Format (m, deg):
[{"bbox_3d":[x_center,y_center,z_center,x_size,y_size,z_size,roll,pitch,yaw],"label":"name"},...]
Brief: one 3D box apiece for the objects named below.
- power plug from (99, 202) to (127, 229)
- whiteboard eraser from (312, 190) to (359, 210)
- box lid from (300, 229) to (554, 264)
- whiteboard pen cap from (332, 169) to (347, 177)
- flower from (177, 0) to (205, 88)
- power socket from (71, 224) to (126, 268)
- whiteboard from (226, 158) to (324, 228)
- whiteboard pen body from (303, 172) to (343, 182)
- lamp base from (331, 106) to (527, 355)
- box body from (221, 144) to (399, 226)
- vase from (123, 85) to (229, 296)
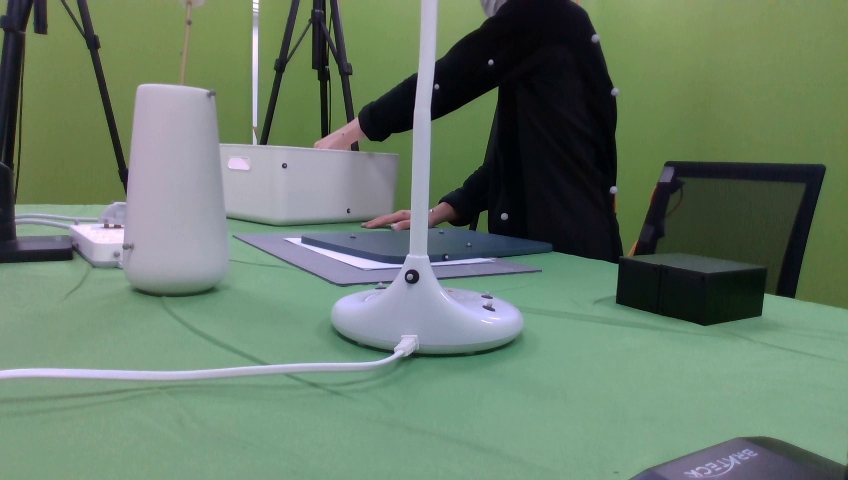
[{"bbox_3d":[-0.415,-0.026,0.848,0.073,0.052,0.035,6,5,-28],"label":"power plug"},{"bbox_3d":[-0.222,-0.099,1.516,0.112,0.042,0.056,10,17,33],"label":"whiteboard eraser"},{"bbox_3d":[0.011,0.006,0.998,0.374,0.015,0.262,-3,9,-43],"label":"box lid"},{"bbox_3d":[-0.192,-0.151,1.374,0.033,0.018,0.018,-1,4,41],"label":"whiteboard pen cap"},{"bbox_3d":[-0.243,-0.131,0.609,0.044,0.361,0.038,-5,-12,11],"label":"flower"},{"bbox_3d":[-0.409,0.004,0.793,0.072,0.032,0.225,-2,8,-37],"label":"power socket"},{"bbox_3d":[-0.276,-0.119,1.376,0.216,0.143,0.307,7,10,39],"label":"whiteboard"},{"bbox_3d":[-0.235,-0.147,1.414,0.140,0.017,0.017,-1,3,42],"label":"whiteboard pen body"},{"bbox_3d":[0.006,-0.012,0.478,0.161,0.180,0.179,2,10,2],"label":"lamp base"},{"bbox_3d":[-0.264,-0.129,1.380,0.253,0.160,0.366,8,9,39],"label":"box body"},{"bbox_3d":[-0.244,-0.047,0.598,0.098,0.200,0.098,3,8,0],"label":"vase"}]
